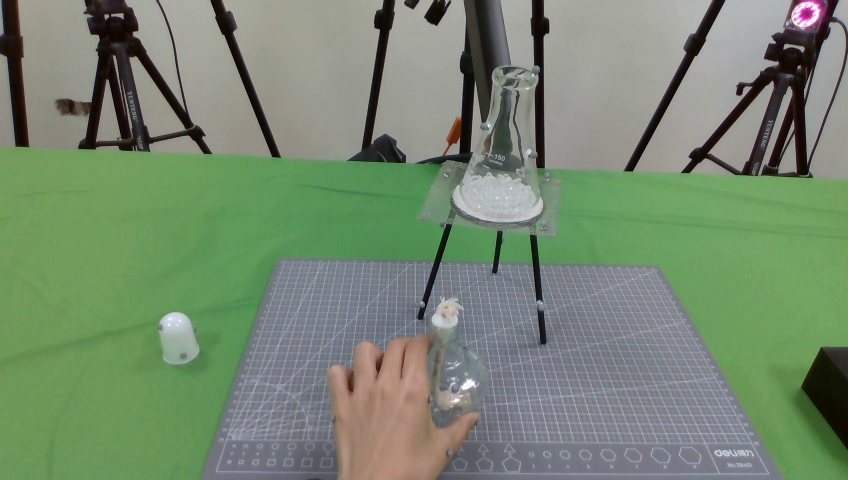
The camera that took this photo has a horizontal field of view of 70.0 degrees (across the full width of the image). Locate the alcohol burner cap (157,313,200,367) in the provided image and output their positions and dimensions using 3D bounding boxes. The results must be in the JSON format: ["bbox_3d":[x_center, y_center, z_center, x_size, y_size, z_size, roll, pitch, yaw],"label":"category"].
[{"bbox_3d":[-0.228,0.089,0.556,0.034,0.048,0.033,2,33,-1],"label":"alcohol burner cap"}]

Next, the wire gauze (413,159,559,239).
[{"bbox_3d":[0.063,-0.039,0.566,0.121,0.011,0.124,9,35,10],"label":"wire gauze"}]

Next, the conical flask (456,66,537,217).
[{"bbox_3d":[0.069,-0.087,0.530,0.075,0.123,0.074,3,33,-1],"label":"conical flask"}]

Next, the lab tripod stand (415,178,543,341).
[{"bbox_3d":[0.067,0.017,0.601,0.148,0.132,0.147,4,32,-2],"label":"lab tripod stand"}]

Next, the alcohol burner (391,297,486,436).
[{"bbox_3d":[0.012,0.097,0.483,0.078,0.120,0.077,1,30,0],"label":"alcohol burner"}]
